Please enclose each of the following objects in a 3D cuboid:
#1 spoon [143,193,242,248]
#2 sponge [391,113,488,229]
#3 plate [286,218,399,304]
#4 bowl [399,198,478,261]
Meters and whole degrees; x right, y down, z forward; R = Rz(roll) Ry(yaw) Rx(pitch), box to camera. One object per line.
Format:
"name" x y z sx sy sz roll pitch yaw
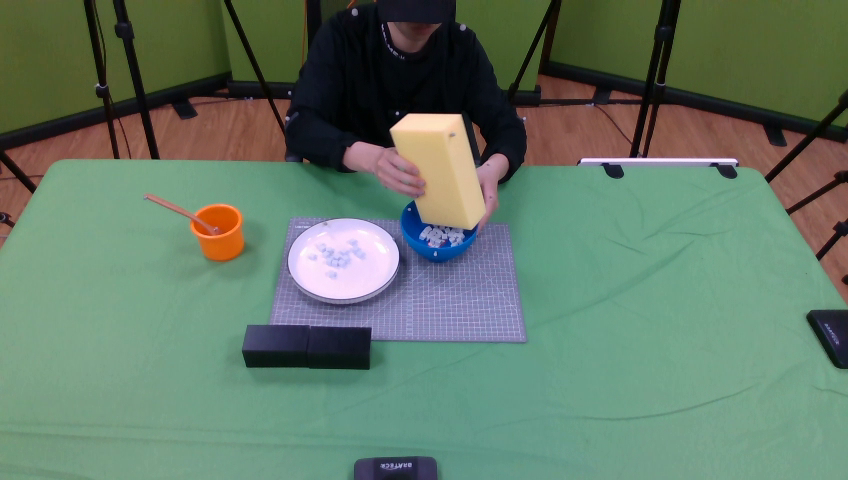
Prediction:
"spoon" -0.421 -0.037 1.113 0.021 0.195 0.041 -36 37 23
"sponge" 0.032 -0.124 1.096 0.118 0.208 0.061 10 44 35
"plate" -0.150 0.042 1.131 0.209 0.038 0.208 2 45 -2
"bowl" 0.026 -0.012 1.167 0.151 0.077 0.150 2 46 -2
